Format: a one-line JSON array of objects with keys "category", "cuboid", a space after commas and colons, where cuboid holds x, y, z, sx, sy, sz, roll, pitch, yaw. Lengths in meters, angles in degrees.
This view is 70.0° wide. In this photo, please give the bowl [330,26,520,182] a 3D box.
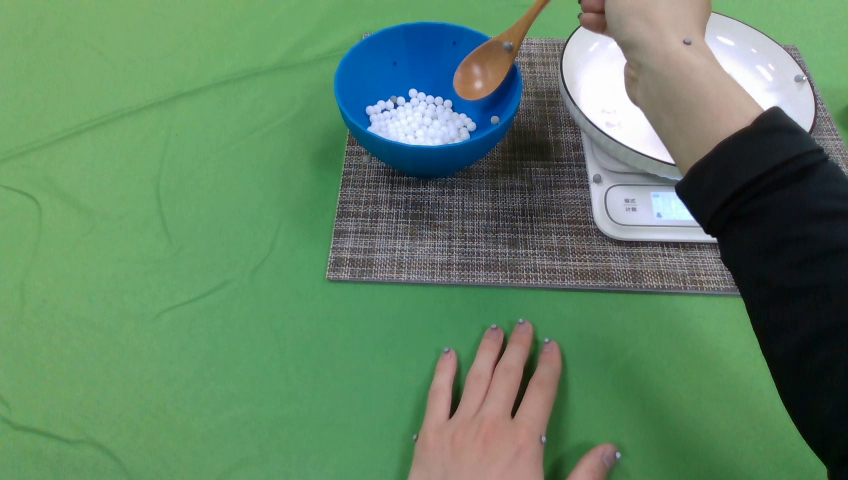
[{"category": "bowl", "cuboid": [0.001, -0.102, 0.510, 0.151, 0.077, 0.150, 0, 54, 0]}]

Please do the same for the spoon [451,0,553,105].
[{"category": "spoon", "cuboid": [0.088, -0.172, 0.450, 0.022, 0.194, 0.041, -3, 59, -45]}]

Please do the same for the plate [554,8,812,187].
[{"category": "plate", "cuboid": [0.212, -0.121, 0.514, 0.209, 0.038, 0.207, 1, 55, -1]}]

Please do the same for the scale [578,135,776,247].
[{"category": "scale", "cuboid": [0.210, -0.083, 0.527, 0.149, 0.032, 0.199, 2, 55, 1]}]
